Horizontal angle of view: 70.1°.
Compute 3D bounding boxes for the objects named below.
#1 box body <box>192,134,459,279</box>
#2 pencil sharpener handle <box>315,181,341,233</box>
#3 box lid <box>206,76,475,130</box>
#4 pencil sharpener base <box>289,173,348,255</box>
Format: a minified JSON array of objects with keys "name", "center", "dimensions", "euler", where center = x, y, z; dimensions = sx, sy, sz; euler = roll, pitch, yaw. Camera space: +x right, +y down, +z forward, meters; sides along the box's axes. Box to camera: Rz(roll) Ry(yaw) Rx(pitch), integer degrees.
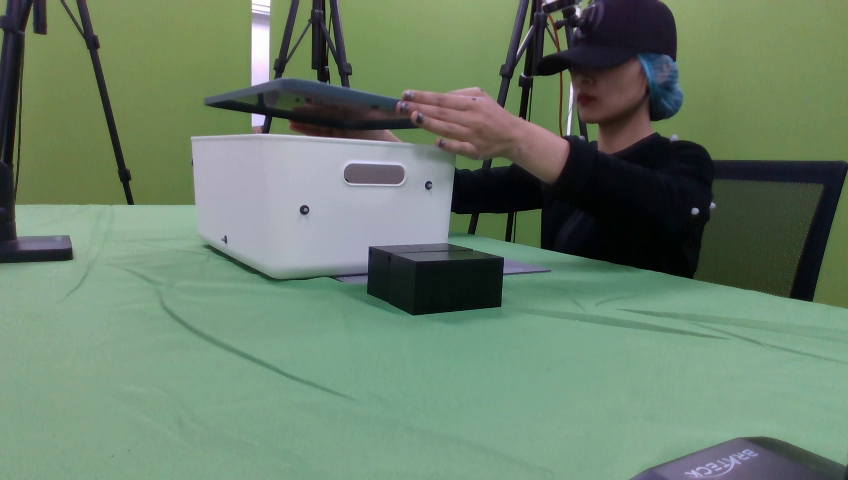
[{"name":"box body","center":[-0.154,-0.059,0.840],"dimensions":[0.255,0.160,0.362],"euler":[-2,9,-33]},{"name":"pencil sharpener handle","center":[-0.119,-0.043,0.787],"dimensions":[0.036,0.067,0.030],"euler":[-2,8,-31]},{"name":"box lid","center":[-0.130,-0.181,0.846],"dimensions":[0.265,0.015,0.369],"euler":[3,5,-34]},{"name":"pencil sharpener base","center":[-0.146,-0.037,0.832],"dimensions":[0.062,0.107,0.076],"euler":[-2,8,-31]}]
